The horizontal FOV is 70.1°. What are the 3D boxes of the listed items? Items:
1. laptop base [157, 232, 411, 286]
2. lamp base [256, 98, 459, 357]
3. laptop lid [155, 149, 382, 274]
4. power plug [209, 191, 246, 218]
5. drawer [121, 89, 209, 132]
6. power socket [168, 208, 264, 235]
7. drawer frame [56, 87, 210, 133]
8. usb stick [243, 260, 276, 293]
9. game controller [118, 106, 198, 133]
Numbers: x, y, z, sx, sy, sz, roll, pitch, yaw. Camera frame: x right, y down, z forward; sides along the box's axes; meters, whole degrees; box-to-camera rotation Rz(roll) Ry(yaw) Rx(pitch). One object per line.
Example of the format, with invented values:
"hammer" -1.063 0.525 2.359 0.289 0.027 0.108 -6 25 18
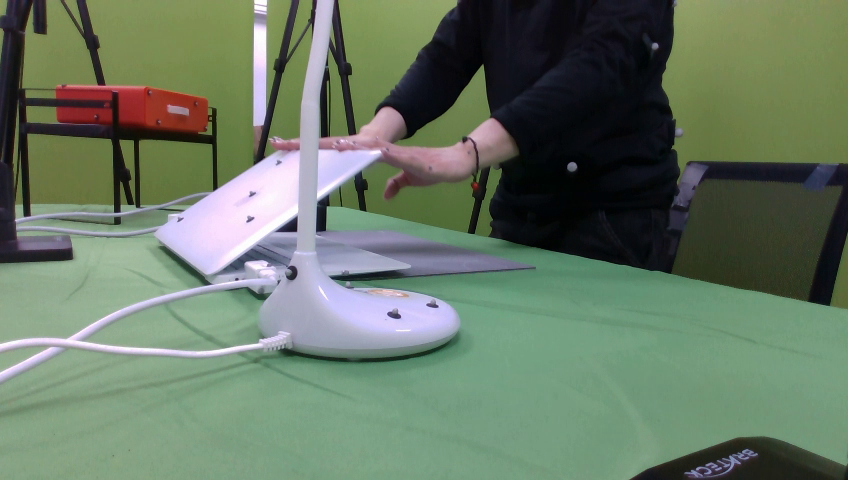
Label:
"laptop base" -0.203 0.019 0.807 0.237 0.023 0.352 0 8 -33
"lamp base" -0.055 -0.013 0.463 0.160 0.180 0.180 6 11 27
"laptop lid" -0.220 -0.055 0.784 0.242 0.013 0.355 -38 25 -20
"power plug" -0.387 -0.071 1.204 0.072 0.052 0.035 4 8 26
"drawer" -0.595 -0.268 1.263 0.211 0.073 0.195 4 8 15
"power socket" -0.381 -0.038 1.128 0.072 0.032 0.227 4 8 16
"drawer frame" -0.598 -0.269 1.261 0.213 0.082 0.202 4 8 14
"usb stick" -0.166 0.035 0.604 0.021 0.027 0.059 -8 8 -28
"game controller" -0.555 -0.251 1.255 0.097 0.051 0.155 9 12 18
